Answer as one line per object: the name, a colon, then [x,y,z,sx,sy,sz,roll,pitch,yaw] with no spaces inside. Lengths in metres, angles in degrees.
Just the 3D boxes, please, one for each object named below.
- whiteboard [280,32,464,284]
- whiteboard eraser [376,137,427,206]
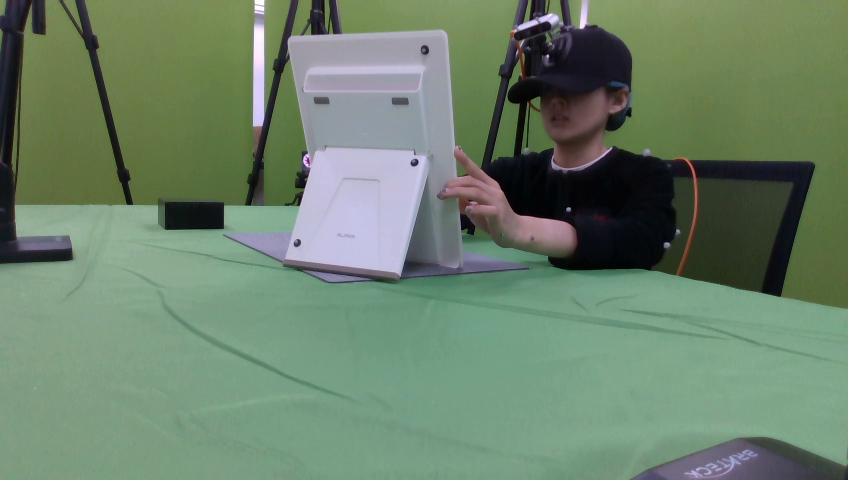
whiteboard: [-0.087,-0.079,0.728,0.216,0.305,0.144,7,28,24]
whiteboard eraser: [-0.029,-0.088,0.788,0.041,0.101,0.019,34,34,6]
